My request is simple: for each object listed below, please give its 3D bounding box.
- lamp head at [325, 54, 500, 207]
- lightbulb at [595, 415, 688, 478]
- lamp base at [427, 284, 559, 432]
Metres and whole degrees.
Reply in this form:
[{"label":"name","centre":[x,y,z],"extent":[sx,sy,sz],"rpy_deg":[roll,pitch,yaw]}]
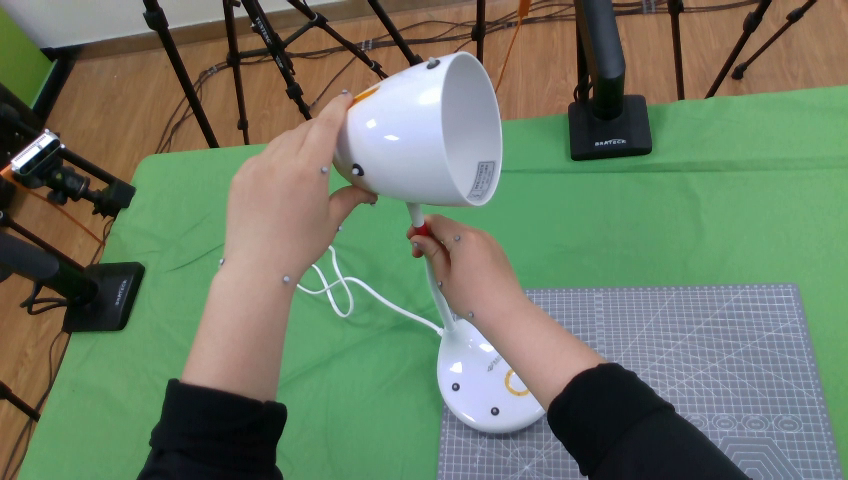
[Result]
[{"label":"lamp head","centre":[-0.012,-0.074,0.472],"extent":[0.122,0.113,0.111],"rpy_deg":[-7,56,32]},{"label":"lightbulb","centre":[0.246,0.230,0.694],"extent":[0.107,0.060,0.059],"rpy_deg":[16,64,41]},{"label":"lamp base","centre":[0.066,0.125,0.727],"extent":[0.178,0.182,0.160],"rpy_deg":[22,66,29]}]
